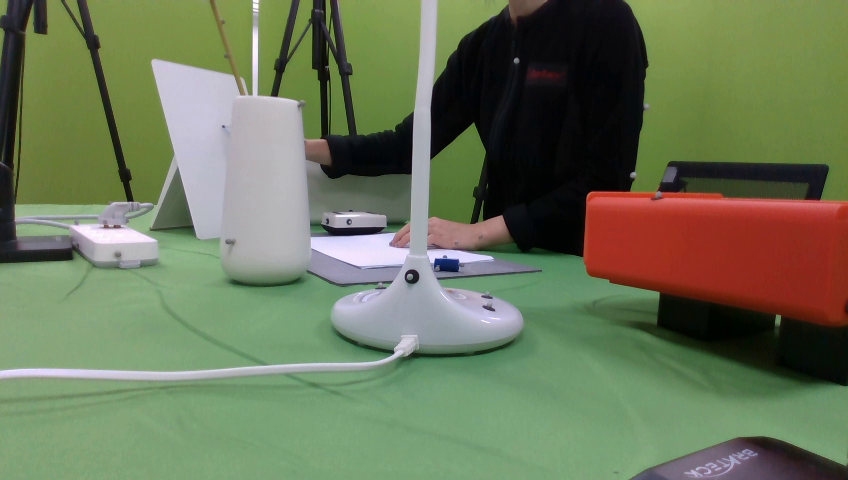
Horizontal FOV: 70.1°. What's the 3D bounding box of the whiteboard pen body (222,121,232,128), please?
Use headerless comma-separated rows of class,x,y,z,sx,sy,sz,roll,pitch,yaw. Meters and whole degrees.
whiteboard pen body,-0.294,-0.208,1.047,0.140,0.017,0.017,-6,4,23

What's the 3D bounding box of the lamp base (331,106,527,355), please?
lamp base,0.006,-0.012,0.478,0.161,0.180,0.179,2,10,2

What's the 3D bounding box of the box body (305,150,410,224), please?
box body,-0.230,-0.126,1.372,0.366,0.160,0.253,-2,9,-33

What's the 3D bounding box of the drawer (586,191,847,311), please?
drawer,0.281,0.001,0.513,0.195,0.073,0.210,-1,7,-29

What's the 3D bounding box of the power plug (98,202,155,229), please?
power plug,-0.416,-0.026,0.848,0.073,0.052,0.035,0,8,-28

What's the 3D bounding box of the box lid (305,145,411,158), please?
box lid,-0.228,-0.200,1.361,0.373,0.015,0.262,-1,8,-33

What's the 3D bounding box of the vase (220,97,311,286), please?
vase,-0.172,-0.052,0.662,0.098,0.200,0.098,3,8,0

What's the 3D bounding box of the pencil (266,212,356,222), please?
pencil,-0.244,-0.049,1.318,0.195,0.012,0.012,4,7,-12

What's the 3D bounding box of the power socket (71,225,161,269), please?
power socket,-0.408,0.004,0.793,0.072,0.032,0.225,-2,8,-38

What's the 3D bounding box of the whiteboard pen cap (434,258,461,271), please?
whiteboard pen cap,0.029,0.031,0.770,0.033,0.018,0.018,4,8,8

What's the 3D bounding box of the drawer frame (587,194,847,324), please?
drawer frame,0.285,0.004,0.508,0.203,0.082,0.212,-1,6,-29

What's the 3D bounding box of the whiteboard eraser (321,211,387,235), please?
whiteboard eraser,-0.128,-0.031,1.108,0.113,0.042,0.055,-4,8,-38

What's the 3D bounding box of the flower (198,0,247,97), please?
flower,-0.187,-0.133,0.648,0.038,0.362,0.044,0,21,43

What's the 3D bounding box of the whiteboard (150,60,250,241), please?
whiteboard,-0.408,-0.139,1.093,0.143,0.305,0.218,-15,-1,26
